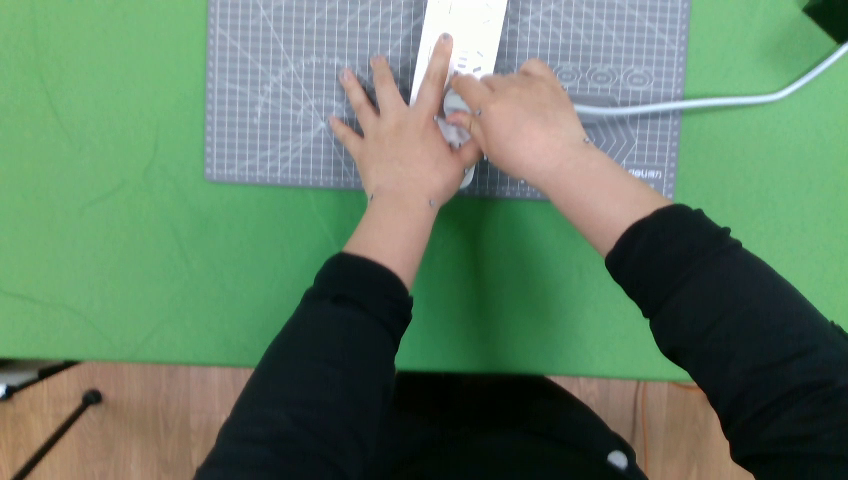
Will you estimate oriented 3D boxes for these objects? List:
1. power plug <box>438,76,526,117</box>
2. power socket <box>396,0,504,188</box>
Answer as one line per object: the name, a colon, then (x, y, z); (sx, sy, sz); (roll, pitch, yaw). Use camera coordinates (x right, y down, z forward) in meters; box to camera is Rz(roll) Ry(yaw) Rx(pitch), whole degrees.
power plug: (0.047, -0.120, 0.537); (0.072, 0.052, 0.035); (24, 96, -4)
power socket: (0.026, -0.160, 0.554); (0.072, 0.032, 0.227); (10, 96, -3)
